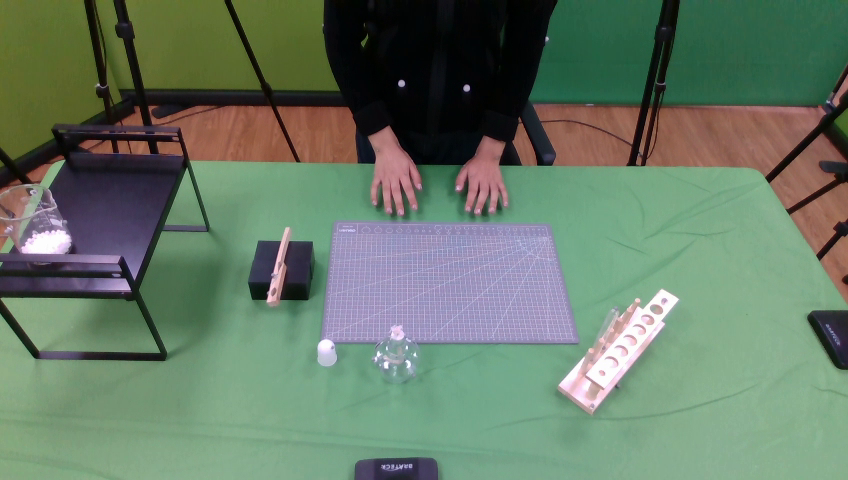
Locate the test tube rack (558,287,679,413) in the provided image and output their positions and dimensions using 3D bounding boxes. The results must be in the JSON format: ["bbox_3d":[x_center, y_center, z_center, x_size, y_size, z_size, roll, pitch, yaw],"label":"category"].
[{"bbox_3d":[0.326,0.170,1.009,0.066,0.085,0.242,36,54,27],"label":"test tube rack"}]

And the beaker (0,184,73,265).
[{"bbox_3d":[-0.556,-0.019,0.871,0.084,0.101,0.073,3,46,-2],"label":"beaker"}]

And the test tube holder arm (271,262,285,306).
[{"bbox_3d":[-0.250,0.075,1.040,0.010,0.015,0.087,-5,46,3],"label":"test tube holder arm"}]

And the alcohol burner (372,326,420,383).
[{"bbox_3d":[-0.045,0.174,0.961,0.078,0.120,0.077,1,47,-1],"label":"alcohol burner"}]

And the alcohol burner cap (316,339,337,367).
[{"bbox_3d":[-0.161,0.182,0.995,0.034,0.048,0.033,2,47,-2],"label":"alcohol burner cap"}]

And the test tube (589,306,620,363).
[{"bbox_3d":[0.284,0.152,0.961,0.017,0.151,0.017,2,49,-2],"label":"test tube"}]

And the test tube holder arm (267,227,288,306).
[{"bbox_3d":[-0.258,0.043,1.071,0.013,0.015,0.177,-6,46,2],"label":"test tube holder arm"}]
